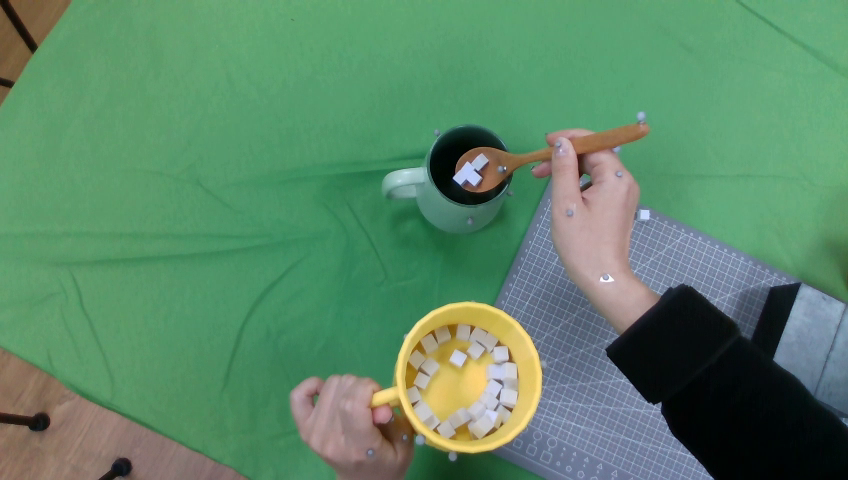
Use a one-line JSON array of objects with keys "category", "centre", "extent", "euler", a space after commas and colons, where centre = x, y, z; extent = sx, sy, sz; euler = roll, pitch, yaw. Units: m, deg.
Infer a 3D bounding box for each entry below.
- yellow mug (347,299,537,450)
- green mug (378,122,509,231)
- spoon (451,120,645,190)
[{"category": "yellow mug", "centre": [0.010, 0.102, 0.432], "extent": [0.131, 0.064, 0.099], "euler": [-13, 74, -9]}, {"category": "green mug", "centre": [0.018, -0.058, 0.587], "extent": [0.125, 0.105, 0.092], "euler": [-6, 82, -5]}, {"category": "spoon", "centre": [0.091, -0.070, 0.497], "extent": [0.022, 0.192, 0.041], "euler": [-11, 93, -37]}]
